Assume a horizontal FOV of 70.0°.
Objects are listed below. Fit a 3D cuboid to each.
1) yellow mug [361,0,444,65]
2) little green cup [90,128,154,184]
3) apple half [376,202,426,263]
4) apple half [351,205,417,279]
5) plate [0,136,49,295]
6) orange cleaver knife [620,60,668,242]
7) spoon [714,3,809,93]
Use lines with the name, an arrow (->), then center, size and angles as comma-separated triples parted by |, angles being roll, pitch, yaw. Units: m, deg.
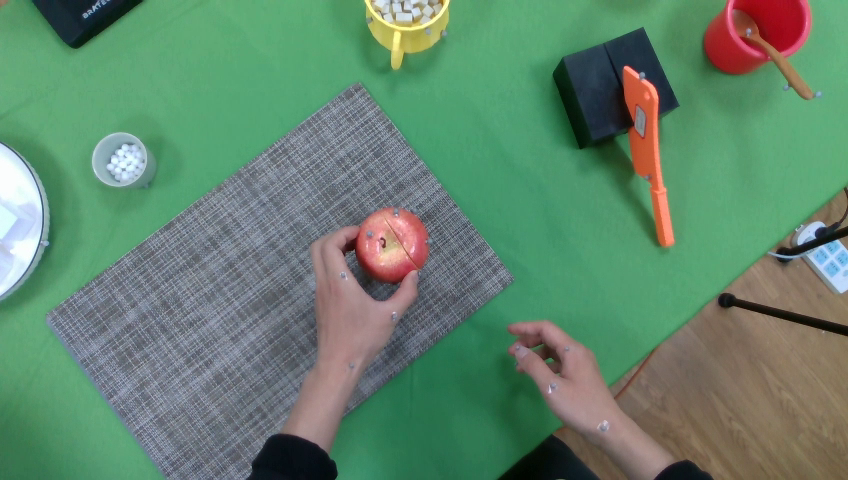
yellow mug -> -0.027, -0.267, 0.698 | 0.100, 0.064, 0.130 | 10, 87, -1
little green cup -> -0.341, -0.092, 0.690 | 0.061, 0.038, 0.061 | 0, 86, -2
apple half -> -0.017, -0.014, 0.655 | 0.033, 0.081, 0.081 | -33, 87, 1
apple half -> -0.049, 0.009, 0.654 | 0.053, 0.074, 0.081 | -33, 89, 2
plate -> -0.523, -0.025, 0.679 | 0.208, 0.039, 0.207 | 0, 86, -2
orange cleaver knife -> 0.249, -0.098, 0.689 | 0.012, 0.076, 0.213 | -18, 117, 0
spoon -> 0.373, -0.216, 0.670 | 0.041, 0.022, 0.191 | -3, 41, -1
